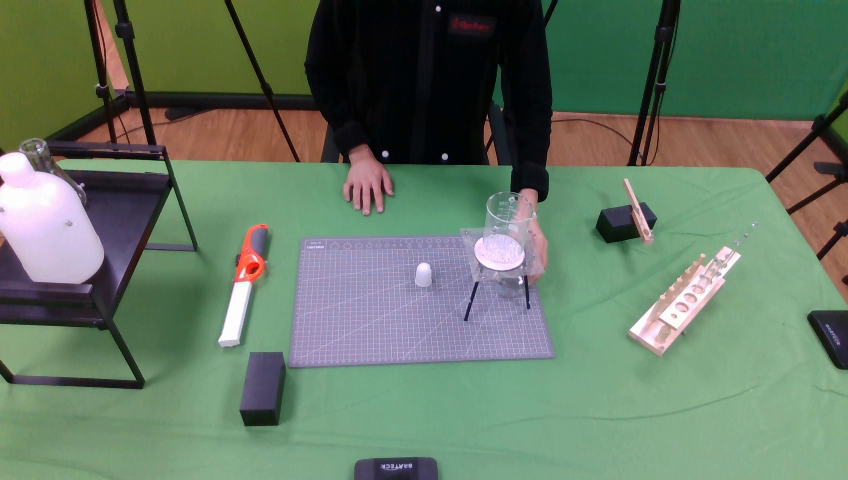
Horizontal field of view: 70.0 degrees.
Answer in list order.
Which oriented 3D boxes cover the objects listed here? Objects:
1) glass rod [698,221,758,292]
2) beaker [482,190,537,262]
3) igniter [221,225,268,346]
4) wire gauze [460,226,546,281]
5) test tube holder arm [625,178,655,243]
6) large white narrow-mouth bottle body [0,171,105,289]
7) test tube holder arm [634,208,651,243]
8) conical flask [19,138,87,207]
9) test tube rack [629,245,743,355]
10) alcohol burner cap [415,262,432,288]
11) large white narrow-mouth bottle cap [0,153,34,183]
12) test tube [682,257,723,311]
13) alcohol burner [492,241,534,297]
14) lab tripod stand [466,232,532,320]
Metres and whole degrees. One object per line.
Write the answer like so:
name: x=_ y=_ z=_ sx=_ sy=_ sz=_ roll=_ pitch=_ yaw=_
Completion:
glass rod: x=0.527 y=0.035 z=1.059 sx=0.008 sy=0.200 sz=0.008 roll=5 pitch=49 yaw=-6
beaker: x=0.136 y=-0.019 z=0.983 sx=0.084 sy=0.101 sz=0.073 roll=17 pitch=47 yaw=14
igniter: x=-0.323 y=0.072 z=1.100 sx=0.057 sy=0.025 sz=0.274 roll=-6 pitch=45 yaw=5
wire gauze: x=0.130 y=0.017 z=1.016 sx=0.121 sy=0.011 sz=0.124 roll=-4 pitch=43 yaw=-9
test tube holder arm: x=0.433 y=-0.062 z=1.220 sx=0.013 sy=0.015 sz=0.177 roll=0 pitch=47 yaw=-2
large white narrow-mouth bottle body: x=-0.513 y=-0.029 z=0.818 sx=0.102 sy=0.195 sz=0.101 roll=2 pitch=46 yaw=-2
test tube holder arm: x=0.428 y=-0.030 z=1.189 sx=0.010 sy=0.015 sz=0.087 roll=1 pitch=47 yaw=-2
conical flask: x=-0.576 y=-0.097 z=0.930 sx=0.075 sy=0.122 sz=0.075 roll=2 pitch=46 yaw=-2
test tube rack: x=0.474 y=0.095 z=1.091 sx=0.242 sy=0.085 sz=0.066 roll=-34 pitch=56 yaw=-31
alcohol burner cap: x=0.000 y=0.061 z=1.119 sx=0.034 sy=0.048 sz=0.033 roll=3 pitch=43 yaw=-3
large white narrow-mouth bottle cap: x=-0.510 y=-0.090 z=0.754 sx=0.038 sy=0.024 sz=0.037 roll=2 pitch=46 yaw=-2
test tube: x=0.475 y=0.080 z=1.037 sx=0.017 sy=0.151 sz=0.017 roll=1 pitch=50 yaw=-1
alcohol burner: x=0.163 y=0.047 z=1.093 sx=0.078 sy=0.120 sz=0.077 roll=0 pitch=47 yaw=0
lab tripod stand: x=0.125 y=0.059 z=1.065 sx=0.148 sy=0.132 sz=0.147 roll=1 pitch=45 yaw=0
